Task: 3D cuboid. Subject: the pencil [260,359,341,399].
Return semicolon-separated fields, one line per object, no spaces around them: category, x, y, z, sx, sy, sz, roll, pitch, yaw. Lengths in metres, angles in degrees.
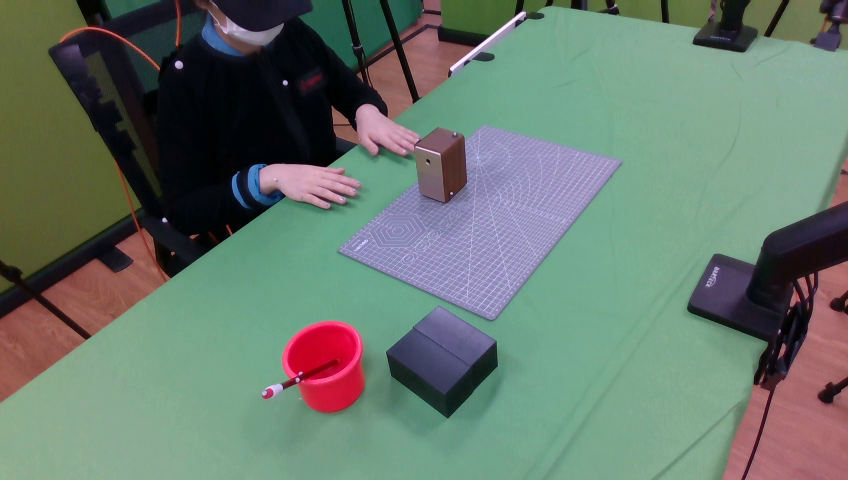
pencil;-0.137;0.157;0.706;0.012;0.012;0.195;6;1;16

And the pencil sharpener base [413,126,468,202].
pencil sharpener base;0.032;-0.132;1.047;0.061;0.107;0.077;22;48;30

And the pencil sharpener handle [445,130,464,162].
pencil sharpener handle;0.059;-0.171;1.070;0.036;0.068;0.031;26;50;25
